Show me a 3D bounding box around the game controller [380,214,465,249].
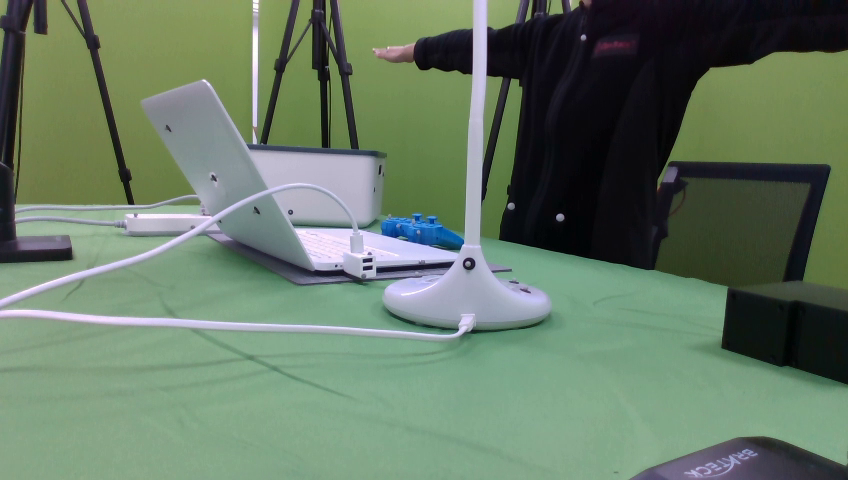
[{"bbox_3d":[-0.007,-0.016,1.032,0.097,0.051,0.154,-4,9,-32],"label":"game controller"}]

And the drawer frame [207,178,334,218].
[{"bbox_3d":[-0.327,-0.093,1.328,0.213,0.082,0.202,-1,5,7],"label":"drawer frame"}]

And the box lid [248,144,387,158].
[{"bbox_3d":[-0.275,-0.197,1.326,0.372,0.015,0.263,4,8,1],"label":"box lid"}]

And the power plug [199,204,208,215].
[{"bbox_3d":[-0.387,-0.055,1.089,0.035,0.052,0.072,-1,6,-22],"label":"power plug"}]

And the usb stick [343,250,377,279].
[{"bbox_3d":[-0.076,0.026,0.687,0.021,0.027,0.059,-8,9,-31],"label":"usb stick"}]

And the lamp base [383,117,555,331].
[{"bbox_3d":[0.045,-0.019,0.547,0.161,0.180,0.179,2,10,-4],"label":"lamp base"}]

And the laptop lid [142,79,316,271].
[{"bbox_3d":[-0.265,-0.082,0.775,0.013,0.242,0.355,-37,28,-25],"label":"laptop lid"}]

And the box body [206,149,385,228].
[{"bbox_3d":[-0.276,-0.124,1.334,0.364,0.160,0.254,3,7,1],"label":"box body"}]

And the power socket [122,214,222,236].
[{"bbox_3d":[-0.399,-0.028,1.049,0.228,0.032,0.072,-3,8,-34],"label":"power socket"}]

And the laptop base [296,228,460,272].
[{"bbox_3d":[-0.123,0.011,0.889,0.237,0.023,0.352,2,6,-35],"label":"laptop base"}]
